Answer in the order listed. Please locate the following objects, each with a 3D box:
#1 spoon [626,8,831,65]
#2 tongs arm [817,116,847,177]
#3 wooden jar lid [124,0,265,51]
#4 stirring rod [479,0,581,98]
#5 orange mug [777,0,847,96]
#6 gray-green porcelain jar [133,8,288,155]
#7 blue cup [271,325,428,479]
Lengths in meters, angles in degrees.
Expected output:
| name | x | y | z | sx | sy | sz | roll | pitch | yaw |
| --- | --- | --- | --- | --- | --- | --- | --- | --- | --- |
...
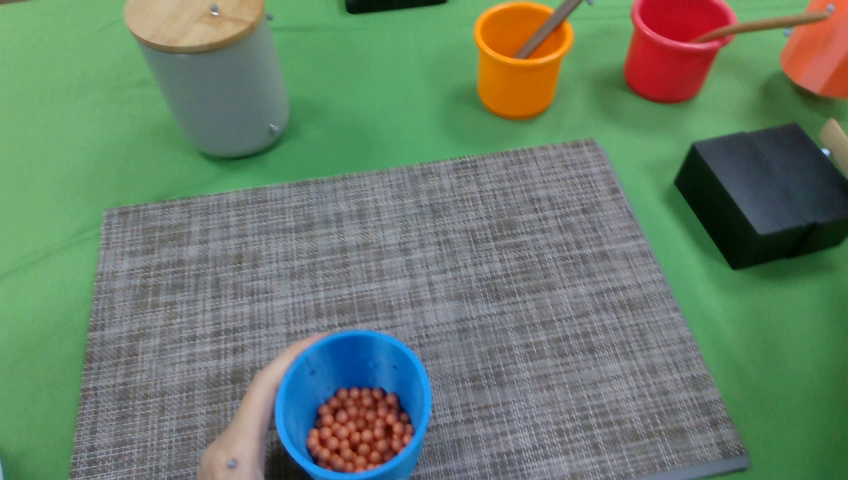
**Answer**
| name | x | y | z | sx | sy | sz | roll | pitch | yaw |
| --- | --- | --- | --- | --- | --- | --- | --- | --- | --- |
| spoon | 0.266 | -0.186 | 0.553 | 0.041 | 0.022 | 0.192 | -43 | 21 | -19 |
| tongs arm | 0.420 | 0.046 | 0.457 | 0.051 | 0.027 | 0.380 | -6 | 56 | -7 |
| wooden jar lid | -0.183 | -0.184 | 0.489 | 0.108 | 0.021 | 0.107 | 1 | 54 | -1 |
| stirring rod | 0.116 | -0.200 | 0.568 | 0.176 | 0.006 | 0.014 | -44 | 58 | 22 |
| orange mug | 0.399 | -0.185 | 0.547 | 0.083 | 0.102 | 0.125 | -13 | 51 | -11 |
| gray-green porcelain jar | -0.182 | -0.148 | 0.540 | 0.106 | 0.127 | 0.105 | 0 | 55 | 1 |
| blue cup | -0.041 | 0.113 | 0.369 | 0.093 | 0.101 | 0.092 | 1 | 54 | -1 |
